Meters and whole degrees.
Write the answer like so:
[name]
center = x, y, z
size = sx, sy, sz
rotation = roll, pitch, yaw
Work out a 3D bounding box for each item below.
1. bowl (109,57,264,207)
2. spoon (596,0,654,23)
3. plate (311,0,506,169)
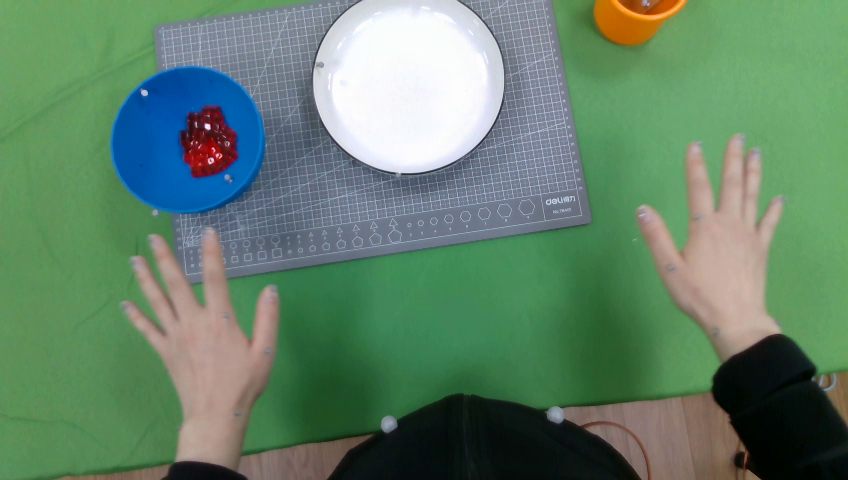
[bowl]
center = -0.232, -0.102, 0.629
size = 0.151, 0.077, 0.151
rotation = 0, 83, 0
[spoon]
center = 0.264, -0.261, 0.612
size = 0.022, 0.192, 0.041
rotation = 9, 83, -42
[plate]
center = -0.016, -0.177, 0.657
size = 0.209, 0.038, 0.208
rotation = 0, 83, 1
